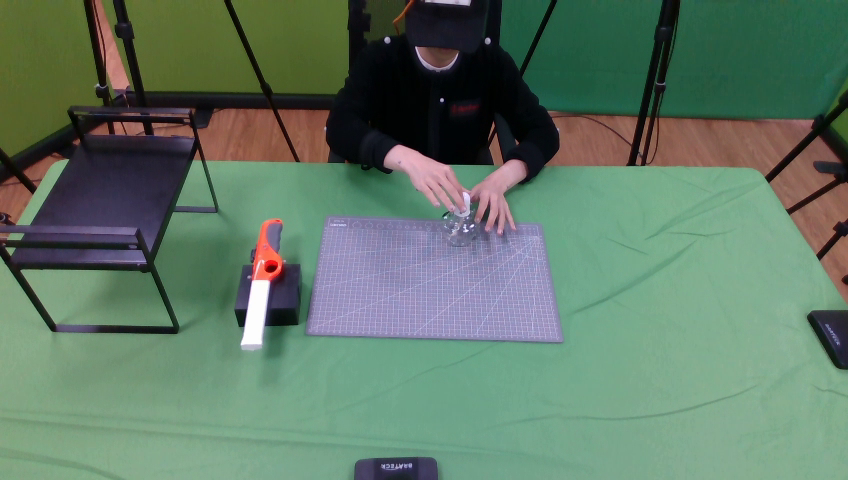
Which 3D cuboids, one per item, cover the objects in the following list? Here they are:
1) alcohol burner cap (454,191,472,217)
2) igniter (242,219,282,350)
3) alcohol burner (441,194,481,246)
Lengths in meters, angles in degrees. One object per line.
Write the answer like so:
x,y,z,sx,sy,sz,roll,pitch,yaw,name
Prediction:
0.075,-0.071,1.149,0.034,0.048,0.033,1,42,-1,alcohol burner cap
-0.277,0.065,1.044,0.057,0.025,0.274,1,48,-6,igniter
0.074,-0.046,1.175,0.078,0.119,0.077,2,44,-2,alcohol burner
